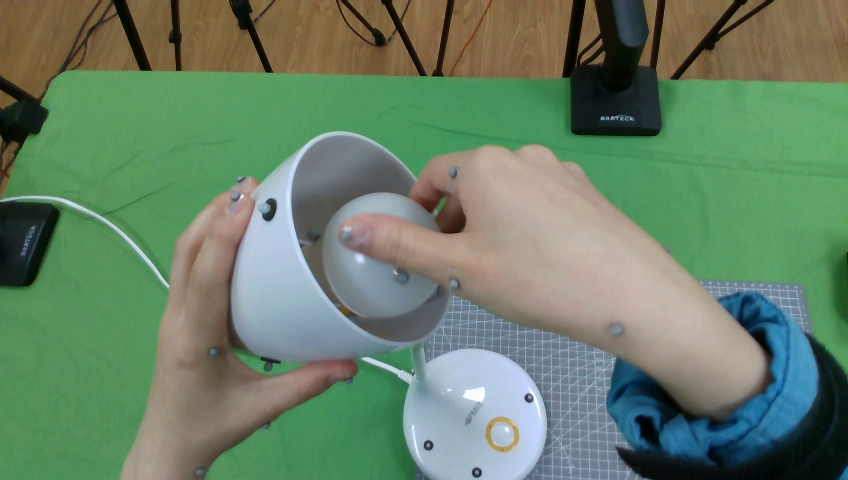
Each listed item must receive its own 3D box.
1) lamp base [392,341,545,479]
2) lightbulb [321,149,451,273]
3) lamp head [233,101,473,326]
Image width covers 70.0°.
[{"bbox_3d":[0.042,0.157,0.624,0.179,0.182,0.159,10,65,10],"label":"lamp base"},{"bbox_3d":[-0.031,-0.007,0.310,0.060,0.107,0.059,16,64,-36],"label":"lightbulb"},{"bbox_3d":[-0.048,0.001,0.340,0.113,0.123,0.111,22,53,-33],"label":"lamp head"}]
